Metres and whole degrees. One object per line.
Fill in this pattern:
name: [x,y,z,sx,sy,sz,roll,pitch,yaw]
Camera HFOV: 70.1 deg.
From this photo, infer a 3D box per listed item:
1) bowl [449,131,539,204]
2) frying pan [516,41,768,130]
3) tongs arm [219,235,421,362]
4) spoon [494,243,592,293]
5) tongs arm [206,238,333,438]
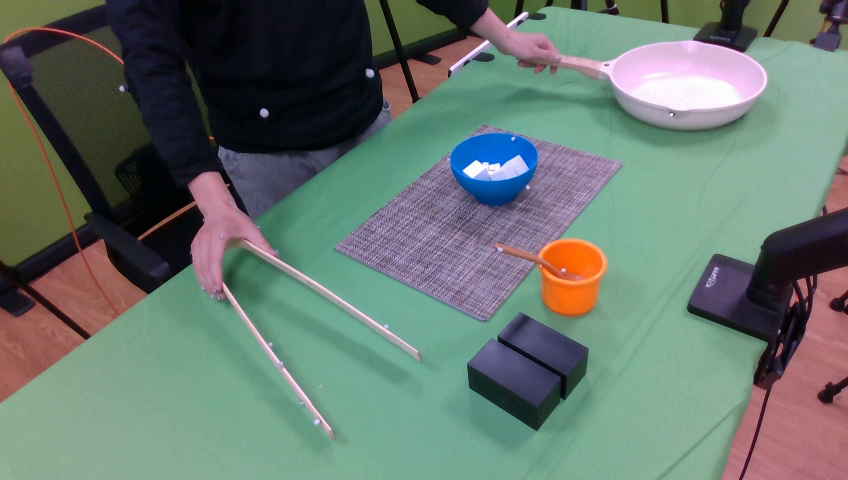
bowl: [0.121,-0.114,1.034,0.151,0.077,0.150,-4,41,4]
frying pan: [0.424,-0.338,1.236,0.486,0.103,0.307,18,45,15]
tongs arm: [-0.157,0.074,0.858,0.384,0.028,0.028,27,61,28]
spoon: [0.162,0.034,0.808,0.021,0.195,0.041,-47,40,21]
tongs arm: [-0.213,0.117,0.825,0.051,0.026,0.381,-36,53,-21]
